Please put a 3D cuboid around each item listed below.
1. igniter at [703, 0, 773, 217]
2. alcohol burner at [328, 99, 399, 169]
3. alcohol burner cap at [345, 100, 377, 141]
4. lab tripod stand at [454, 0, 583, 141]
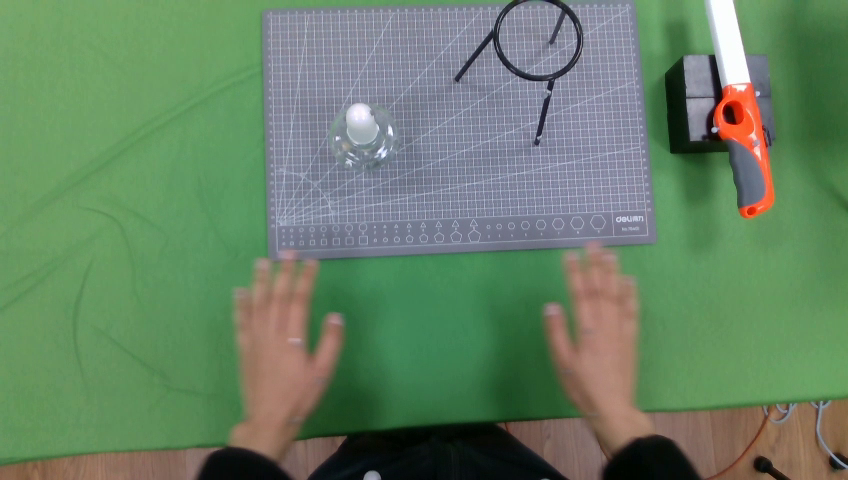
[{"bbox_3d":[0.347,-0.161,0.675,0.057,0.025,0.275,-6,81,-1],"label":"igniter"},{"bbox_3d":[-0.066,-0.118,0.650,0.078,0.119,0.077,0,85,-2],"label":"alcohol burner"},{"bbox_3d":[-0.065,-0.124,0.615,0.034,0.048,0.033,1,76,-3],"label":"alcohol burner cap"},{"bbox_3d":[0.111,-0.196,0.658,0.148,0.132,0.148,0,81,-2],"label":"lab tripod stand"}]
